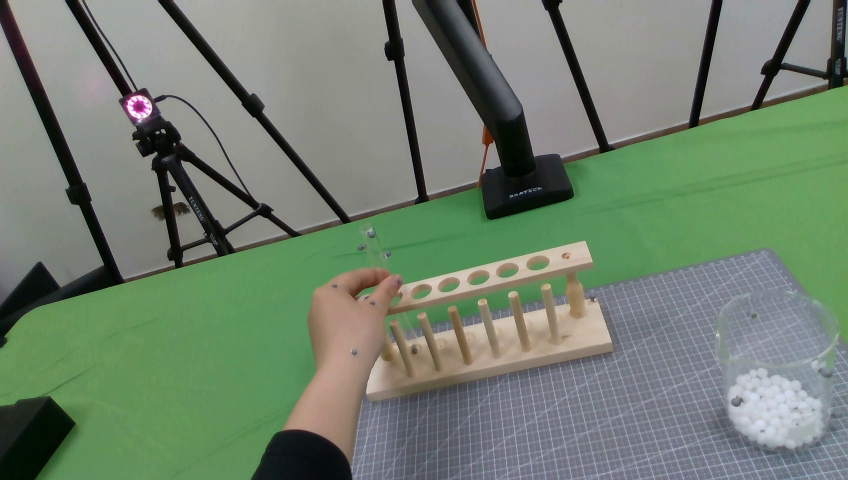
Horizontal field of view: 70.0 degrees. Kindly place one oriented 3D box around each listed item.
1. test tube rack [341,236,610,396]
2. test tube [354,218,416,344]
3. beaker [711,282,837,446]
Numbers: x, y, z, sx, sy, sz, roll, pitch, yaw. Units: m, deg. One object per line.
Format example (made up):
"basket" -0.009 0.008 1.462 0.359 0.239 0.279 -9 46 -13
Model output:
"test tube rack" 0.047 0.076 0.590 0.242 0.086 0.066 -14 33 10
"test tube" -0.035 0.044 0.592 0.017 0.151 0.017 -14 31 9
"beaker" 0.249 0.093 0.437 0.084 0.101 0.073 -25 32 -4
